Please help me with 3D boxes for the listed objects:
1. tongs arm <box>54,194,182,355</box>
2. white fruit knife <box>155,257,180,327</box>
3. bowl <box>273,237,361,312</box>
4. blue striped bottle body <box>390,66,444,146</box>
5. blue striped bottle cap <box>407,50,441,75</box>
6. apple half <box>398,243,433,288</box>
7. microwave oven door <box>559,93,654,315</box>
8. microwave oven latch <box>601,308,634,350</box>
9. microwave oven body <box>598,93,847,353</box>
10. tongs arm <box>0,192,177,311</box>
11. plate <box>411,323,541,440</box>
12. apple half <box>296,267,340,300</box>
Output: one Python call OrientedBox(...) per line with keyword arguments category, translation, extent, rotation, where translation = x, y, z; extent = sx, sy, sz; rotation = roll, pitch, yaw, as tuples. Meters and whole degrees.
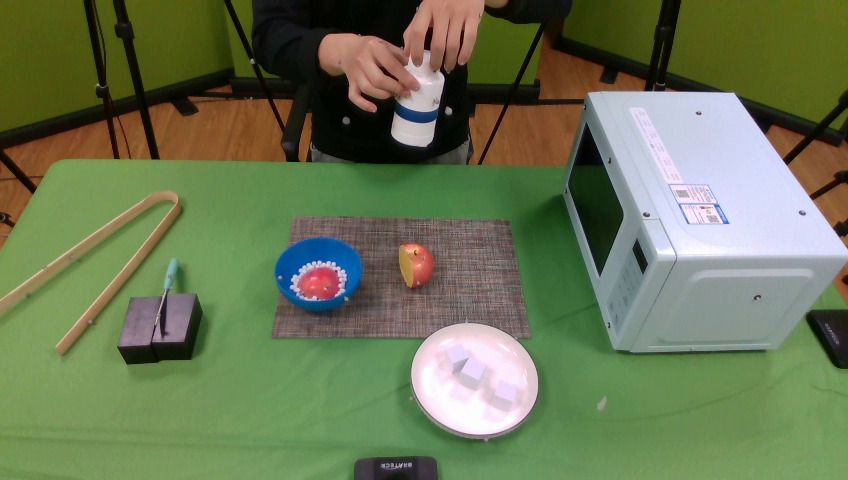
OrientedBox(category="tongs arm", translation=(-0.543, 0.048, 1.108), extent=(0.028, 0.028, 0.385), rotation=(11, 46, 9))
OrientedBox(category="white fruit knife", translation=(-0.440, 0.085, 1.037), extent=(0.016, 0.027, 0.206), rotation=(10, 26, -19))
OrientedBox(category="bowl", translation=(-0.186, 0.074, 1.069), extent=(0.151, 0.077, 0.150), rotation=(3, 46, -3))
OrientedBox(category="blue striped bottle body", translation=(-0.009, -0.200, 0.853), extent=(0.063, 0.121, 0.062), rotation=(8, 36, -6))
OrientedBox(category="blue striped bottle cap", translation=(0.001, -0.241, 0.823), extent=(0.044, 0.021, 0.044), rotation=(10, 34, -7))
OrientedBox(category="apple half", translation=(-0.012, 0.046, 1.115), extent=(0.053, 0.075, 0.080), rotation=(-11, 44, -19))
OrientedBox(category="microwave oven door", translation=(0.327, -0.074, 1.123), extent=(0.039, 0.245, 0.353), rotation=(-1, 46, -5))
OrientedBox(category="microwave oven latch", translation=(0.331, 0.153, 1.044), extent=(0.030, 0.029, 0.078), rotation=(-2, 45, -5))
OrientedBox(category="microwave oven body", translation=(0.475, -0.041, 1.109), extent=(0.326, 0.261, 0.438), rotation=(-1, 45, -4))
OrientedBox(category="tongs arm", translation=(-0.618, 0.019, 1.124), extent=(0.050, 0.026, 0.384), rotation=(24, 47, 16))
OrientedBox(category="plate", translation=(0.082, 0.228, 0.976), extent=(0.208, 0.039, 0.206), rotation=(2, 45, -2))
OrientedBox(category="apple half", translation=(-0.187, 0.071, 1.067), extent=(0.081, 0.033, 0.081), rotation=(2, 47, -2))
